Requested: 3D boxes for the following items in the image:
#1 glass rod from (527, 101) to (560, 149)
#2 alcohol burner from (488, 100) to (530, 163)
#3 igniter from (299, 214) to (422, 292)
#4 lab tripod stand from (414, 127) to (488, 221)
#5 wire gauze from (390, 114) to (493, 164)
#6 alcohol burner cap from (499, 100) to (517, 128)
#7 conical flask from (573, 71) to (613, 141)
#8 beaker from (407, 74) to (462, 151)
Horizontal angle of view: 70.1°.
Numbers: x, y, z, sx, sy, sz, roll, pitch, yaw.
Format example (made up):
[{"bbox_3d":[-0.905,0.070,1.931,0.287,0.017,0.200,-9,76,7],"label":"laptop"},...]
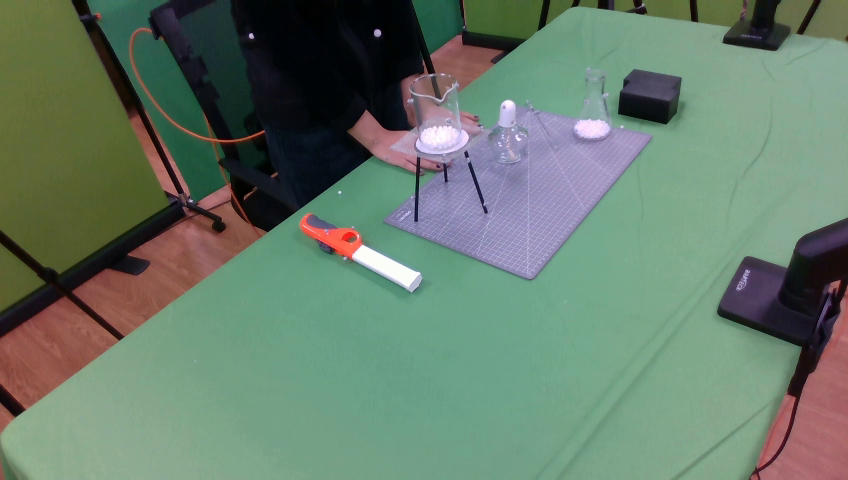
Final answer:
[{"bbox_3d":[0.240,-0.236,1.223,0.008,0.008,0.198,-12,40,-2],"label":"glass rod"},{"bbox_3d":[0.157,-0.204,1.120,0.078,0.119,0.077,-5,38,5],"label":"alcohol burner"},{"bbox_3d":[-0.113,0.016,0.983,0.274,0.025,0.057,26,62,35],"label":"igniter"},{"bbox_3d":[0.035,-0.114,1.021,0.148,0.132,0.147,-7,39,6],"label":"lab tripod stand"},{"bbox_3d":[0.027,-0.163,0.978,0.120,0.011,0.125,22,50,36],"label":"wire gauze"},{"bbox_3d":[0.154,-0.230,1.096,0.034,0.048,0.033,-2,44,2],"label":"alcohol burner cap"},{"bbox_3d":[0.321,-0.256,1.142,0.075,0.122,0.075,-5,40,5],"label":"conical flask"},{"bbox_3d":[0.021,-0.196,0.943,0.074,0.101,0.083,-17,39,-7],"label":"beaker"}]
